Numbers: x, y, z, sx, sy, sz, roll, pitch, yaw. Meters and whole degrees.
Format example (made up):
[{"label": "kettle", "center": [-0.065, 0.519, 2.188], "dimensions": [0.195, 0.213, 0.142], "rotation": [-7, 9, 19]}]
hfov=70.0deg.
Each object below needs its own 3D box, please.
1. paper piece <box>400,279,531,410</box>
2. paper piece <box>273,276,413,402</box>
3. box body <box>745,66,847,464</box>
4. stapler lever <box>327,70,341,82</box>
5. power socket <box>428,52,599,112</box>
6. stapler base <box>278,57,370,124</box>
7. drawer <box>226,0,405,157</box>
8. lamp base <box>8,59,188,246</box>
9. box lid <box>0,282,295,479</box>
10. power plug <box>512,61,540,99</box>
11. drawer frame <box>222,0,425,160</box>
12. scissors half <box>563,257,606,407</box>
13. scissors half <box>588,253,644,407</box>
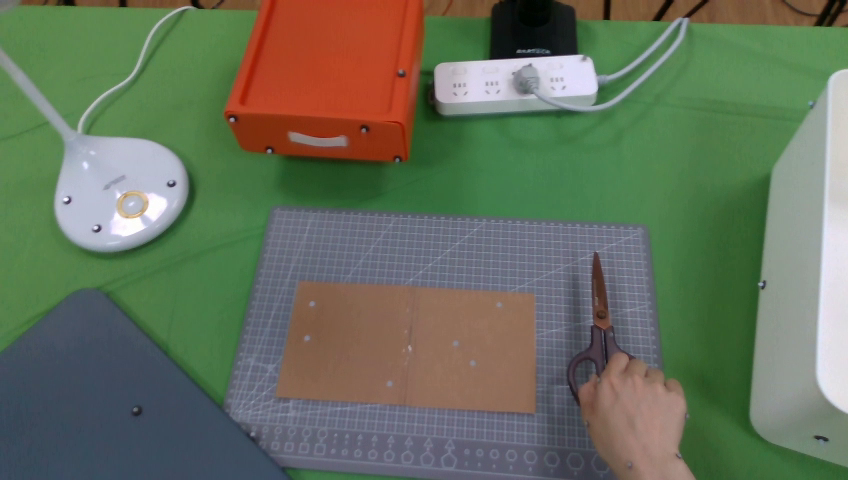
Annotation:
[{"label": "paper piece", "center": [0.047, 0.108, 0.645], "dimensions": [0.135, 0.004, 0.134], "rotation": [4, 63, 5]}, {"label": "paper piece", "center": [-0.084, 0.102, 0.654], "dimensions": [0.136, 0.009, 0.137], "rotation": [2, 64, 7]}, {"label": "box body", "center": [0.473, 0.040, 0.579], "dimensions": [0.253, 0.161, 0.362], "rotation": [16, 64, 10]}, {"label": "stapler lever", "center": [-0.134, -0.194, 0.714], "dimensions": [0.117, 0.040, 0.027], "rotation": [32, 84, 22]}, {"label": "power socket", "center": [0.118, -0.208, 0.797], "dimensions": [0.227, 0.033, 0.071], "rotation": [-2, 63, 1]}, {"label": "stapler base", "center": [-0.125, -0.187, 0.739], "dimensions": [0.129, 0.024, 0.041], "rotation": [32, 84, 20]}, {"label": "drawer", "center": [-0.108, -0.206, 0.728], "dimensions": [0.194, 0.074, 0.210], "rotation": [4, 62, 5]}, {"label": "lamp base", "center": [-0.384, -0.107, 0.680], "dimensions": [0.178, 0.182, 0.160], "rotation": [34, 68, 21]}, {"label": "box lid", "center": [-0.330, 0.231, 0.597], "dimensions": [0.369, 0.015, 0.263], "rotation": [36, 70, 19]}, {"label": "power plug", "center": [0.127, -0.194, 0.763], "dimensions": [0.035, 0.053, 0.072], "rotation": [8, 63, 6]}, {"label": "drawer frame", "center": [-0.110, -0.209, 0.729], "dimensions": [0.201, 0.083, 0.212], "rotation": [4, 62, 5]}, {"label": "scissors half", "center": [0.169, 0.086, 0.620], "dimensions": [0.040, 0.013, 0.174], "rotation": [4, 56, 18]}, {"label": "scissors half", "center": [0.188, 0.085, 0.616], "dimensions": [0.040, 0.013, 0.173], "rotation": [-7, 54, 4]}]
